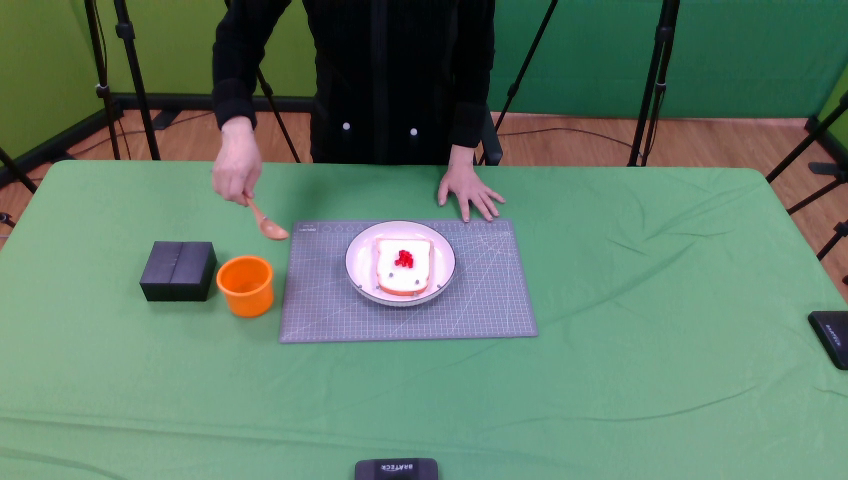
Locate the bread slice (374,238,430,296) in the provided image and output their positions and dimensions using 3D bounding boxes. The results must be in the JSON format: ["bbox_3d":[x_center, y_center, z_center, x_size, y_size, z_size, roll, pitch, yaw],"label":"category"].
[{"bbox_3d":[-0.039,0.048,1.135,0.107,0.018,0.133,-1,47,-4],"label":"bread slice"}]

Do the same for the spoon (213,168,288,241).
[{"bbox_3d":[-0.297,-0.062,1.024,0.193,0.022,0.041,47,36,17],"label":"spoon"}]

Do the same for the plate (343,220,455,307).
[{"bbox_3d":[-0.047,0.046,1.135,0.209,0.038,0.208,2,46,-2],"label":"plate"}]
